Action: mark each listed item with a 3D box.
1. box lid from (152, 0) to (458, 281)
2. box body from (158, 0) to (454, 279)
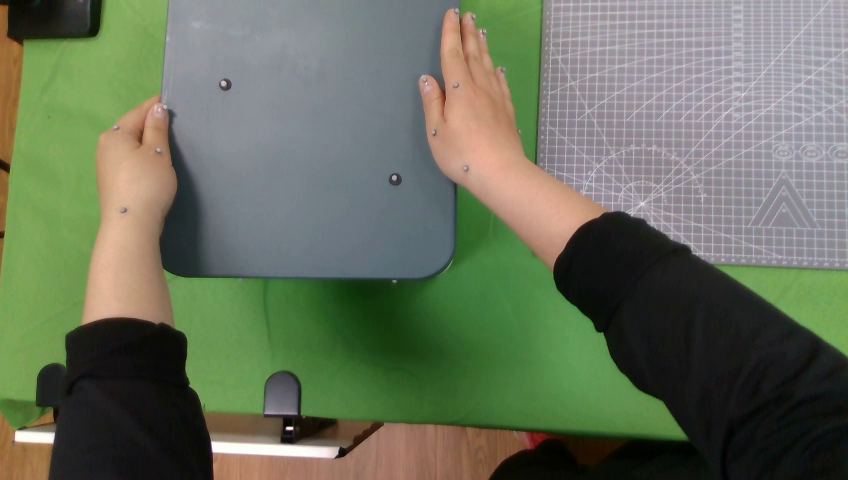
[{"bbox_3d":[-0.102,-0.150,0.527,0.263,0.015,0.370,0,84,5],"label":"box lid"},{"bbox_3d":[-0.097,-0.139,0.606,0.254,0.161,0.363,-1,84,6],"label":"box body"}]
